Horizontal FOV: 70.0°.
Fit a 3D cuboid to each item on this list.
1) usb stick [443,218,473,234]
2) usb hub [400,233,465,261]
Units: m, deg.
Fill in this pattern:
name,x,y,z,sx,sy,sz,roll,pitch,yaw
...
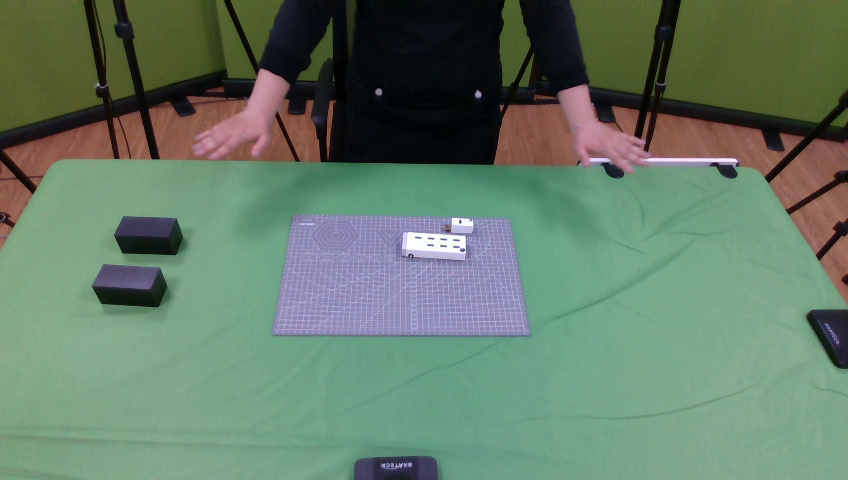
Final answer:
name,x,y,z,sx,sy,sz,roll,pitch,yaw
usb stick,0.068,-0.028,1.223,0.059,0.027,0.021,1,45,0
usb hub,0.018,0.013,1.180,0.125,0.025,0.049,4,46,0
